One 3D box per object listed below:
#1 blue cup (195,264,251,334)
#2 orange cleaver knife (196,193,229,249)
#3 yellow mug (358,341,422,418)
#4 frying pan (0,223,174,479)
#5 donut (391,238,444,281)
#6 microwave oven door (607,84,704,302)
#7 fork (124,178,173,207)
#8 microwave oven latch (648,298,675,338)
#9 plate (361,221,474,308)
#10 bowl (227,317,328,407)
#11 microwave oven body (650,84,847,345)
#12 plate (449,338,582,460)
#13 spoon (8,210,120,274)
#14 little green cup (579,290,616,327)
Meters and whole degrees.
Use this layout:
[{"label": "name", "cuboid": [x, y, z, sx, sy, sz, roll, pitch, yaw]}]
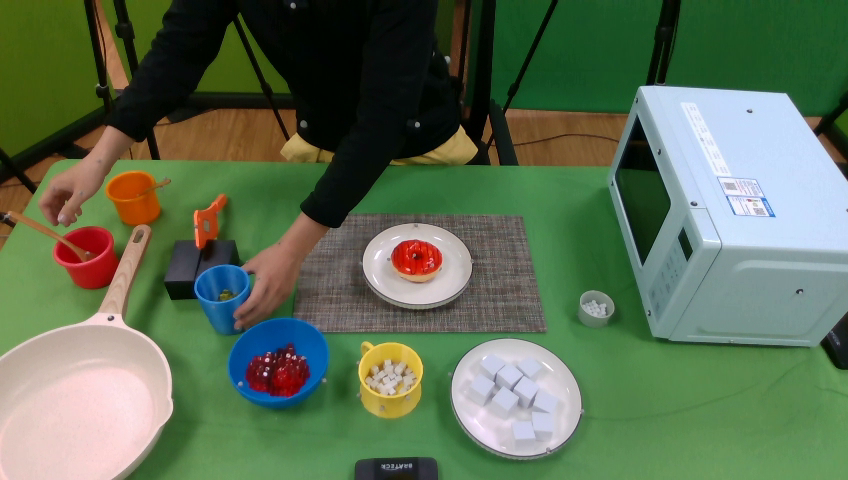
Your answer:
[{"label": "blue cup", "cuboid": [-0.330, 0.105, 1.018, 0.093, 0.101, 0.092, 3, 44, -3]}, {"label": "orange cleaver knife", "cuboid": [-0.405, -0.041, 1.163, 0.012, 0.077, 0.210, 1, 17, -3]}, {"label": "yellow mug", "cuboid": [-0.063, 0.210, 0.961, 0.100, 0.064, 0.130, -29, 54, -27]}, {"label": "frying pan", "cuboid": [-0.505, 0.169, 0.940, 0.307, 0.103, 0.485, 5, 54, -1]}, {"label": "donut", "cuboid": [-0.012, 0.035, 1.128, 0.099, 0.048, 0.098, 3, 43, -3]}, {"label": "microwave oven door", "cuboid": [0.423, -0.096, 1.137, 0.039, 0.245, 0.353, 2, 46, -1]}, {"label": "fork", "cuboid": [-0.525, -0.090, 1.153, 0.207, 0.019, 0.028, -16, 26, 45]}, {"label": "microwave oven latch", "cuboid": [0.413, 0.133, 1.060, 0.030, 0.029, 0.078, 5, 46, 2]}, {"label": "plate", "cuboid": [-0.011, 0.049, 1.130, 0.209, 0.038, 0.208, 2, 46, -2]}, {"label": "bowl", "cuboid": [-0.222, 0.203, 0.947, 0.151, 0.077, 0.150, 2, 46, -2]}, {"label": "microwave oven body", "cuboid": [0.569, -0.054, 1.116, 0.326, 0.261, 0.439, 2, 46, -1]}, {"label": "plate", "cuboid": [0.141, 0.251, 0.955, 0.208, 0.039, 0.206, 2, 46, -2]}, {"label": "spoon", "cuboid": [-0.628, 0.002, 1.063, 0.195, 0.021, 0.041, 40, 39, -26]}, {"label": "little green cup", "cuboid": [0.308, 0.124, 1.086, 0.061, 0.039, 0.061, 1, 45, -1]}]
